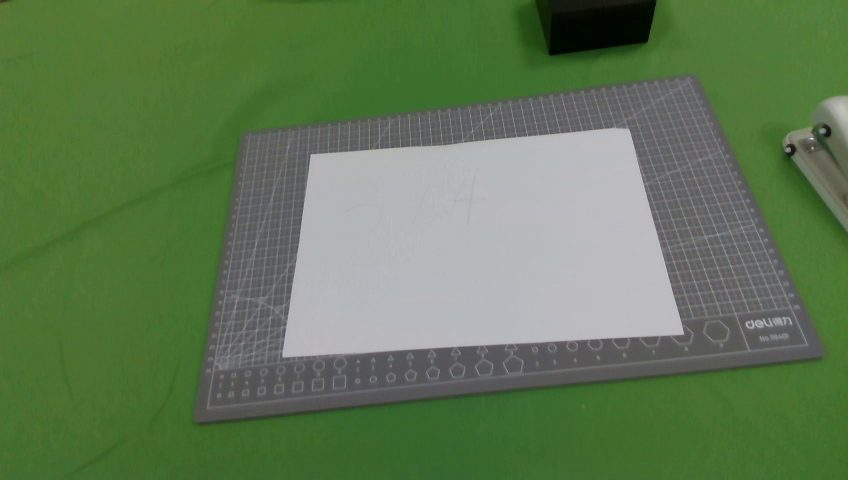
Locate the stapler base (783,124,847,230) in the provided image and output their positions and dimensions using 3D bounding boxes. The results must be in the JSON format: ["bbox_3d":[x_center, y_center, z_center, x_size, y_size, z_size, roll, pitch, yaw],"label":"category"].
[{"bbox_3d":[0.340,-0.050,0.486,0.041,0.025,0.129,-15,57,2],"label":"stapler base"}]

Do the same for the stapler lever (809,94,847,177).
[{"bbox_3d":[0.337,-0.063,0.464,0.027,0.040,0.117,-15,57,2],"label":"stapler lever"}]
